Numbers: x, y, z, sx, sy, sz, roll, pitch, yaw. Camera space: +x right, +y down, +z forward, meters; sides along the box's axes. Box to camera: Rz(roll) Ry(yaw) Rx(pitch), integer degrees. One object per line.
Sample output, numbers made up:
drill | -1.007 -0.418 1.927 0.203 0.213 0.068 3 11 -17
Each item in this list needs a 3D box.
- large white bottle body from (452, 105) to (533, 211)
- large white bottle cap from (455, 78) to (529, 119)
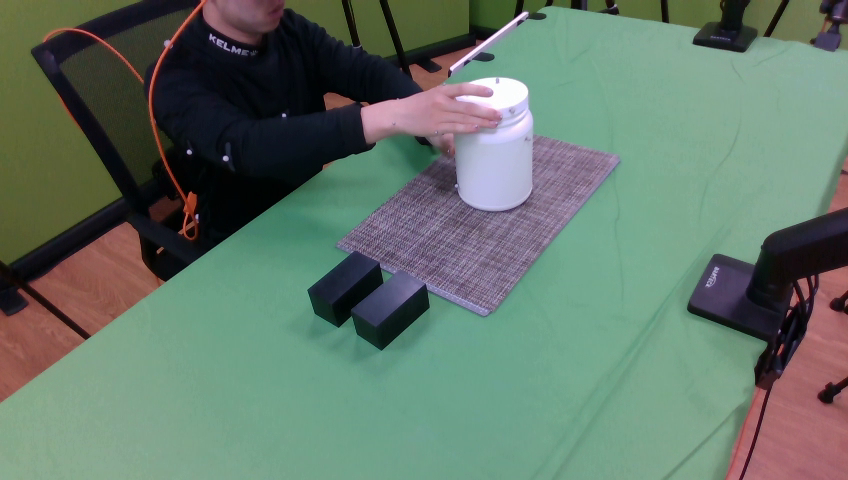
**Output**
large white bottle body | 0.115 -0.155 1.000 0.130 0.185 0.130 -4 41 4
large white bottle cap | 0.106 -0.222 0.944 0.115 0.018 0.114 -4 38 3
